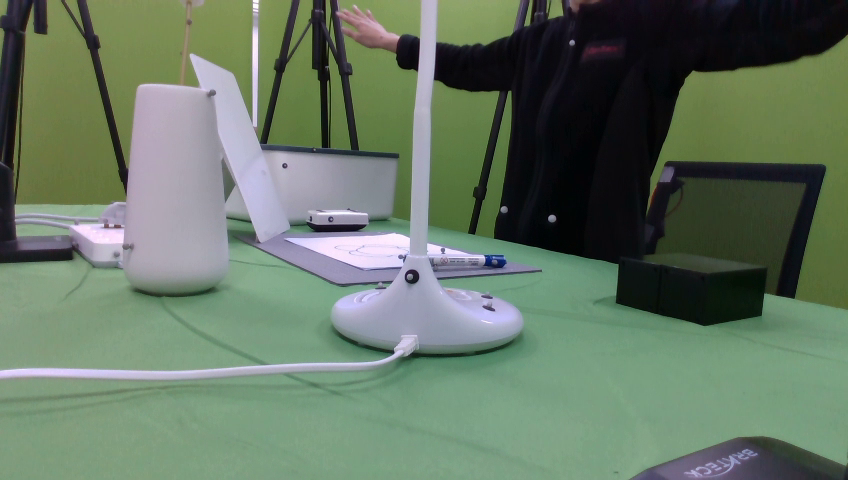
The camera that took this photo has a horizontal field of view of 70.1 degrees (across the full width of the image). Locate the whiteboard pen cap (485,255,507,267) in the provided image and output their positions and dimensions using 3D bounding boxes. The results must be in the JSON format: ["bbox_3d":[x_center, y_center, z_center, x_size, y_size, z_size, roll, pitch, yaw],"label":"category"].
[{"bbox_3d":[0.093,0.028,0.809,0.033,0.018,0.018,1,7,-24],"label":"whiteboard pen cap"}]

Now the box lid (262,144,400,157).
[{"bbox_3d":[-0.263,-0.203,1.369,0.262,0.015,0.373,9,10,39],"label":"box lid"}]

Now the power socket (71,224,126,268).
[{"bbox_3d":[-0.409,0.004,0.793,0.072,0.032,0.225,-2,8,-37],"label":"power socket"}]

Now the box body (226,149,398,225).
[{"bbox_3d":[-0.265,-0.129,1.380,0.253,0.160,0.366,8,9,39],"label":"box body"}]

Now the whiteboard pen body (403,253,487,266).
[{"bbox_3d":[0.040,0.026,0.785,0.141,0.017,0.017,1,7,-24],"label":"whiteboard pen body"}]

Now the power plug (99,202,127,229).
[{"bbox_3d":[-0.415,-0.026,0.848,0.073,0.052,0.035,6,5,-28],"label":"power plug"}]

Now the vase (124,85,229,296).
[{"bbox_3d":[-0.244,-0.047,0.598,0.098,0.200,0.098,3,8,0],"label":"vase"}]

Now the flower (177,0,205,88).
[{"bbox_3d":[-0.243,-0.131,0.609,0.044,0.361,0.038,-5,-12,11],"label":"flower"}]

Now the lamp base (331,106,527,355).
[{"bbox_3d":[0.006,-0.012,0.478,0.161,0.180,0.179,2,10,2],"label":"lamp base"}]

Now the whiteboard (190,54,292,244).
[{"bbox_3d":[-0.363,-0.129,1.028,0.144,0.305,0.217,-18,7,3],"label":"whiteboard"}]

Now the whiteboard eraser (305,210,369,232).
[{"bbox_3d":[-0.168,-0.038,1.172,0.113,0.042,0.055,-3,8,-35],"label":"whiteboard eraser"}]
